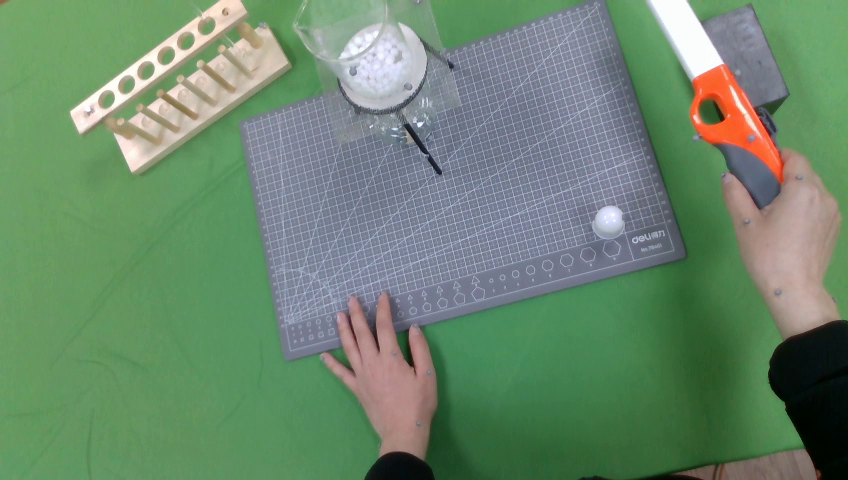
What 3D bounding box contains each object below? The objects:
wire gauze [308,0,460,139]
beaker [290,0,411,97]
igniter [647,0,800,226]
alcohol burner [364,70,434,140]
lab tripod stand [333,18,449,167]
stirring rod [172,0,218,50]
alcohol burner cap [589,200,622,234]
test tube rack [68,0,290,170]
[{"bbox_3d":[-0.041,-0.166,0.569,0.125,0.011,0.121,-16,83,8],"label":"wire gauze"},{"bbox_3d":[-0.058,-0.172,0.523,0.084,0.101,0.074,-2,82,13],"label":"beaker"},{"bbox_3d":[0.253,-0.142,0.534,0.057,0.025,0.275,-25,76,15],"label":"igniter"},{"bbox_3d":[-0.031,-0.150,0.642,0.078,0.120,0.077,-2,81,11],"label":"alcohol burner"},{"bbox_3d":[-0.026,-0.156,0.632,0.148,0.132,0.148,-1,83,11],"label":"lab tripod stand"},{"bbox_3d":[-0.267,-0.259,0.649,0.006,0.177,0.014,-30,70,2],"label":"stirring rod"},{"bbox_3d":[0.185,-0.025,0.613,0.034,0.048,0.033,-2,81,13],"label":"alcohol burner cap"},{"bbox_3d":[-0.291,-0.186,0.726,0.242,0.085,0.066,-33,76,7],"label":"test tube rack"}]
